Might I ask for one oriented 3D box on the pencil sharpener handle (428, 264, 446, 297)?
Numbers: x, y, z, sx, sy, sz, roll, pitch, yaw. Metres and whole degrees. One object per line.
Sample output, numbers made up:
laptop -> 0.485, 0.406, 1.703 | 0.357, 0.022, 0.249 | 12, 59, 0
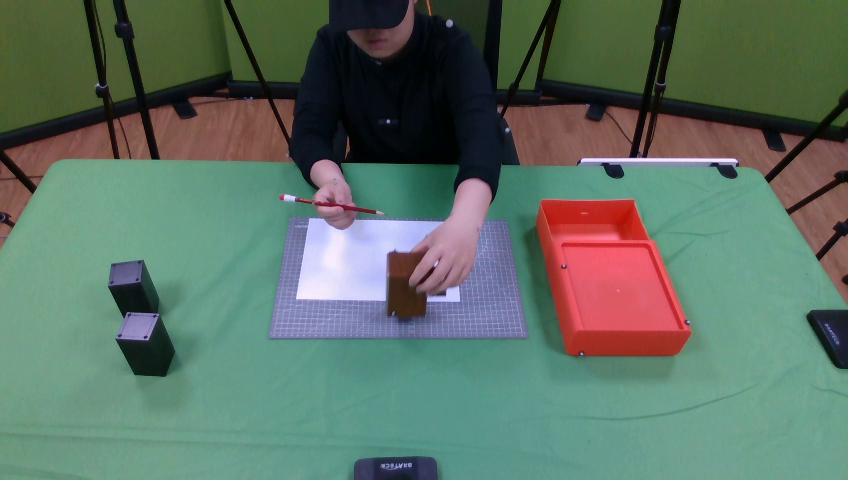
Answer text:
pencil sharpener handle -> 0.024, 0.069, 1.014 | 0.031, 0.068, 0.036 | 1, 36, -6

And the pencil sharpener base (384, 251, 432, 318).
pencil sharpener base -> -0.028, 0.076, 1.018 | 0.077, 0.107, 0.061 | 1, 40, -6

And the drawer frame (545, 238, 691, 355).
drawer frame -> 0.338, 0.097, 1.085 | 0.202, 0.083, 0.212 | 0, 46, -4

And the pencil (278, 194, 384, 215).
pencil -> -0.166, -0.061, 1.075 | 0.194, 0.012, 0.012 | 10, 46, 4

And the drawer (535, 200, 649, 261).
drawer -> 0.332, 0.015, 1.169 | 0.195, 0.073, 0.210 | 0, 46, -5
